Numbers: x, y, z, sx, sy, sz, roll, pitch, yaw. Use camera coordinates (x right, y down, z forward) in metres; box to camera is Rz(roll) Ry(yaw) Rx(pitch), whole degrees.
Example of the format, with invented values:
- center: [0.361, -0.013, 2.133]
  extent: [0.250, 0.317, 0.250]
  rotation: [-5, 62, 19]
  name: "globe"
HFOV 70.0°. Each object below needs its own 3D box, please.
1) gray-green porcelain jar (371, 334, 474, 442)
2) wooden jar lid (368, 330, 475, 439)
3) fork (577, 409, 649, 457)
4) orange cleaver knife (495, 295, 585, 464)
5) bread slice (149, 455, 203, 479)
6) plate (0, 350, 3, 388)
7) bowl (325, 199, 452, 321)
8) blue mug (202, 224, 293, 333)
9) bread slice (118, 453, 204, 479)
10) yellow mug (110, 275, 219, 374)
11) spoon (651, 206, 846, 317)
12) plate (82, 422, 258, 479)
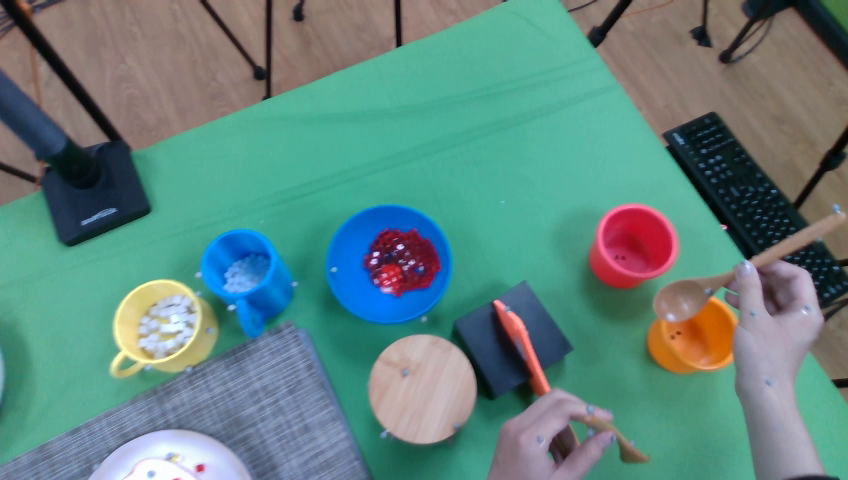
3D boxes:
- center: [-0.003, 0.169, 0.675]
  extent: [0.106, 0.127, 0.105]
  rotation: [1, 70, -1]
  name: "gray-green porcelain jar"
- center: [-0.003, 0.146, 0.616]
  extent: [0.108, 0.021, 0.107]
  rotation: [1, 71, -4]
  name: "wooden jar lid"
- center: [0.175, 0.178, 0.553]
  extent: [0.028, 0.209, 0.018]
  rotation: [-10, 57, 28]
  name: "fork"
- center: [0.132, 0.160, 0.704]
  extent: [0.012, 0.077, 0.212]
  rotation: [-27, 99, -7]
  name: "orange cleaver knife"
- center: [-0.283, 0.320, 0.662]
  extent: [0.104, 0.019, 0.131]
  rotation: [28, 68, 10]
  name: "bread slice"
- center: [-0.597, 0.174, 0.709]
  extent: [0.208, 0.039, 0.206]
  rotation: [1, 70, -1]
  name: "plate"
- center: [-0.042, 0.033, 0.749]
  extent: [0.151, 0.077, 0.150]
  rotation: [1, 70, -1]
  name: "bowl"
- center: [-0.208, 0.054, 0.725]
  extent: [0.082, 0.106, 0.115]
  rotation: [-6, 70, -3]
  name: "blue mug"
- center: [-0.282, 0.287, 0.608]
  extent: [0.107, 0.018, 0.133]
  rotation: [27, 66, 3]
  name: "bread slice"
- center: [-0.317, 0.110, 0.723]
  extent: [0.099, 0.064, 0.130]
  rotation: [40, 75, 13]
  name: "yellow mug"
- center: [0.310, 0.023, 0.591]
  extent: [0.022, 0.194, 0.041]
  rotation: [-17, 74, -53]
  name: "spoon"
- center: [-0.278, 0.307, 0.663]
  extent: [0.209, 0.038, 0.207]
  rotation: [0, 70, -1]
  name: "plate"
